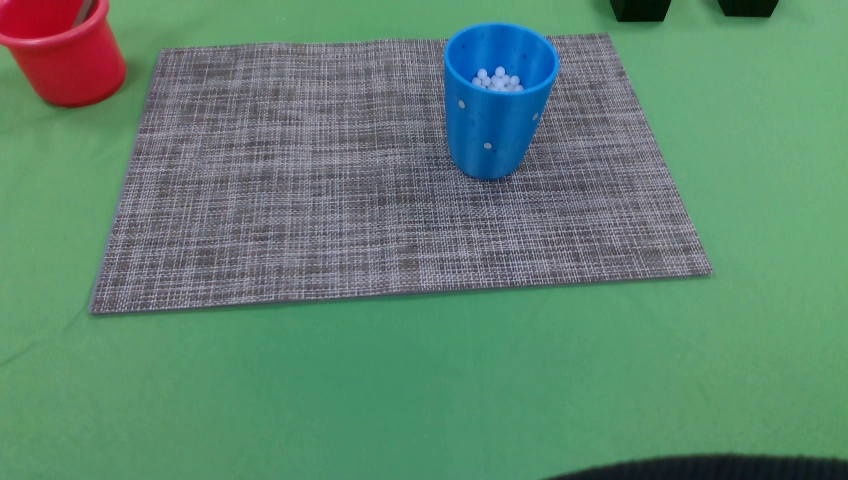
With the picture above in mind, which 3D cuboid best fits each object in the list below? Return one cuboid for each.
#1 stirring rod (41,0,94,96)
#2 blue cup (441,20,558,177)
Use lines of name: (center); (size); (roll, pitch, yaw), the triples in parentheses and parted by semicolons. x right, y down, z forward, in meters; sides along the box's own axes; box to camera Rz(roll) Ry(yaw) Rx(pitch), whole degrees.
stirring rod: (-0.294, -0.203, 0.524); (0.014, 0.006, 0.176); (38, 102, 28)
blue cup: (0.053, -0.105, 0.480); (0.093, 0.101, 0.091); (2, 53, -2)
